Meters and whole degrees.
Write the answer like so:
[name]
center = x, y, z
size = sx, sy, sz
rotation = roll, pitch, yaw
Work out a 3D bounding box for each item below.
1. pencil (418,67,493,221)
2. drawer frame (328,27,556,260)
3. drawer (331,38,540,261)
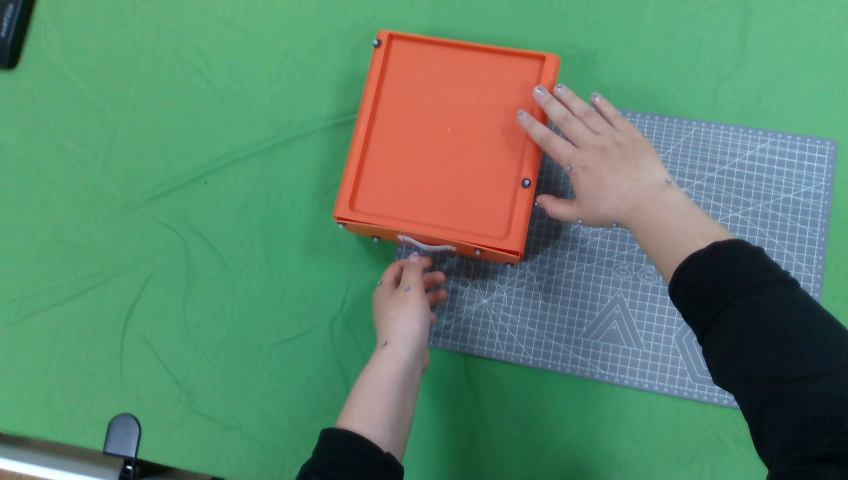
[pencil]
center = 0.036, -0.109, 0.679
size = 0.012, 0.012, 0.193
rotation = -25, 82, 2
[drawer frame]
center = 0.022, -0.101, 0.652
size = 0.201, 0.083, 0.213
rotation = 10, 82, 9
[drawer]
center = 0.022, -0.096, 0.653
size = 0.194, 0.073, 0.211
rotation = 11, 82, 9
